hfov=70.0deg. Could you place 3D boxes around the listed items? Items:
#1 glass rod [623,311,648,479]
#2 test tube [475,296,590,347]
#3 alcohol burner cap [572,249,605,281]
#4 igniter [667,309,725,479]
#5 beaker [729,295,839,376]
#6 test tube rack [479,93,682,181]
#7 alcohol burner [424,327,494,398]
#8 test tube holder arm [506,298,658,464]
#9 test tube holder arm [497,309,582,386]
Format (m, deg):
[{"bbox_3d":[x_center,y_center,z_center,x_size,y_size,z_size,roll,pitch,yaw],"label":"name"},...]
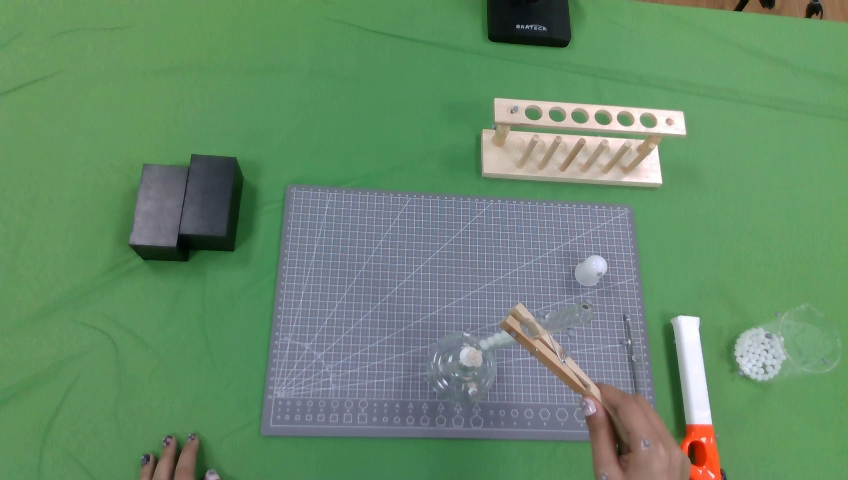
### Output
[{"bbox_3d":[0.248,0.181,0.713,0.008,0.008,0.198,2,70,-7],"label":"glass rod"},{"bbox_3d":[0.084,0.070,0.503,0.017,0.150,0.017,9,68,-24],"label":"test tube"},{"bbox_3d":[0.205,0.028,0.745,0.034,0.048,0.033,2,70,-6],"label":"alcohol burner cap"},{"bbox_3d":[0.314,0.216,0.701,0.057,0.025,0.274,6,70,-16],"label":"igniter"},{"bbox_3d":[0.416,0.116,0.712,0.074,0.101,0.083,15,68,-1],"label":"beaker"},{"bbox_3d":[0.198,-0.130,0.780,0.243,0.085,0.066,3,70,-6],"label":"test tube rack"},{"bbox_3d":[0.040,0.127,0.650,0.078,0.120,0.077,2,68,-5],"label":"alcohol burner"},{"bbox_3d":[0.133,0.118,0.507,0.178,0.015,0.013,47,61,0],"label":"test tube holder arm"},{"bbox_3d":[0.097,0.090,0.503,0.088,0.015,0.010,41,61,-4],"label":"test tube holder arm"}]
